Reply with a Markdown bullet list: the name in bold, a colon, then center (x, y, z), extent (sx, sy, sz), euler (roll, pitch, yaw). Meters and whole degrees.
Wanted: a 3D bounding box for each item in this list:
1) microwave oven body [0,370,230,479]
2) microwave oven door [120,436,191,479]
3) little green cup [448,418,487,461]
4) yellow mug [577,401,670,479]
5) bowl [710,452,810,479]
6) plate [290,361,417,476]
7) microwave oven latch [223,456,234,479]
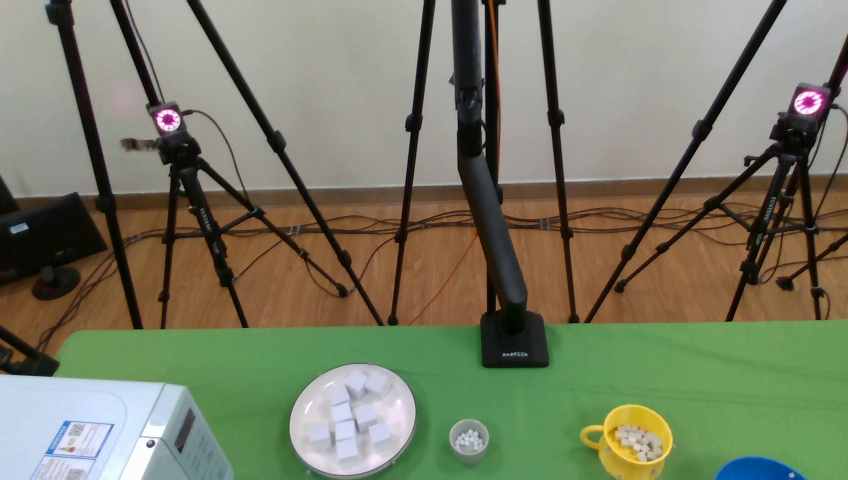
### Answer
- **microwave oven body**: center (-0.480, 0.412, 0.727), extent (0.326, 0.262, 0.437), euler (2, 44, 6)
- **microwave oven door**: center (-0.339, 0.439, 0.678), extent (0.039, 0.246, 0.352), euler (1, 43, 6)
- **little green cup**: center (0.069, 0.317, 0.957), extent (0.061, 0.039, 0.061), euler (-3, 42, 3)
- **yellow mug**: center (0.303, 0.306, 0.931), extent (0.130, 0.064, 0.099), euler (6, 43, 12)
- **bowl**: center (0.459, 0.379, 0.830), extent (0.151, 0.077, 0.150), euler (-2, 43, 2)
- **plate**: center (-0.113, 0.294, 0.998), extent (0.207, 0.039, 0.205), euler (-2, 42, 2)
- **microwave oven latch**: center (-0.310, 0.366, 0.906), extent (0.030, 0.030, 0.078), euler (3, 44, 7)
